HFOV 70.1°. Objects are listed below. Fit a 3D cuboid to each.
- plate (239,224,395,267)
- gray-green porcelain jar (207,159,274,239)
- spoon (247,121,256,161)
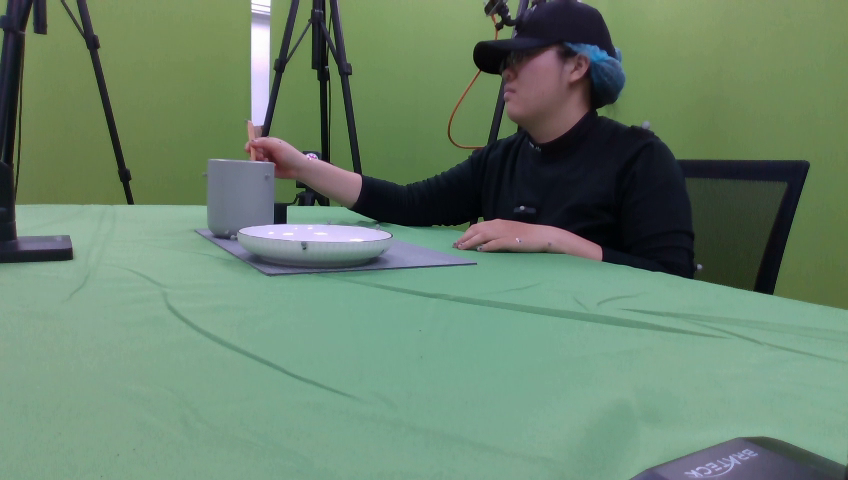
[{"bbox_3d":[-0.144,0.007,0.823,0.208,0.039,0.207,3,7,0],"label":"plate"},{"bbox_3d":[-0.304,-0.068,1.004,0.106,0.126,0.106,3,7,0],"label":"gray-green porcelain jar"},{"bbox_3d":[-0.341,-0.164,1.207,0.042,0.193,0.021,11,-33,-33],"label":"spoon"}]
